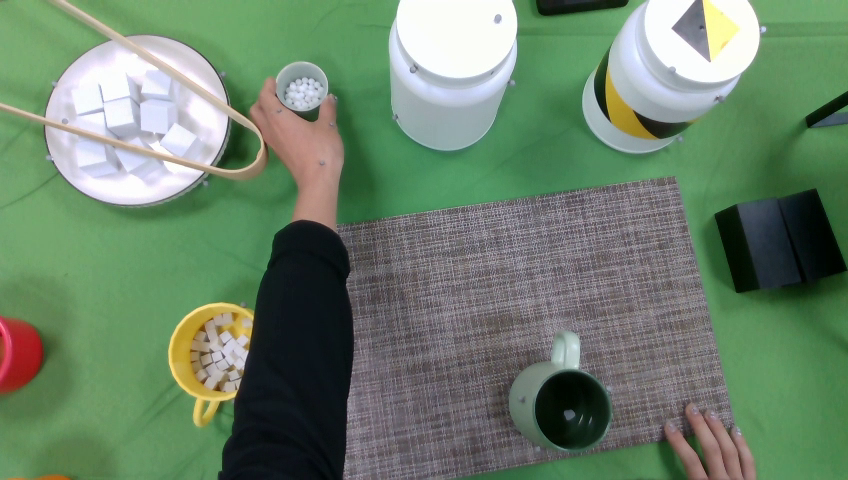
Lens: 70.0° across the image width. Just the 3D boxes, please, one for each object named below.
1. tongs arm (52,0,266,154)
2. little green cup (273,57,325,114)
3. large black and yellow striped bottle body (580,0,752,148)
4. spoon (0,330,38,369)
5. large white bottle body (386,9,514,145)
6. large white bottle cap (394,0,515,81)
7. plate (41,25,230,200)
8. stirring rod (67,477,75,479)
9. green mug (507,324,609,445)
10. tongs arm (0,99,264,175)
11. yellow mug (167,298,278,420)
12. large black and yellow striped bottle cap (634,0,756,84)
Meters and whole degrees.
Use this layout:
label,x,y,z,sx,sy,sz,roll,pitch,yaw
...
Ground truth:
label,x,y,z,sx,sy,sz,roll,pitch,yaw
tongs arm,-0.332,-0.212,0.683,0.387,0.028,0.028,33,74,5
little green cup,-0.146,-0.180,0.718,0.061,0.039,0.061,0,82,-3
large black and yellow striped bottle body,0.260,-0.190,0.668,0.131,0.184,0.130,0,80,-2
spoon,-0.495,0.109,0.597,0.195,0.021,0.041,9,74,-46
large white bottle body,0.025,-0.193,0.655,0.131,0.185,0.130,0,80,-2
large white bottle cap,0.029,-0.207,0.572,0.115,0.018,0.114,1,81,-3
plate,-0.328,-0.144,0.703,0.208,0.039,0.207,1,81,-3
stirring rod,-0.408,0.292,0.572,0.014,0.006,0.176,41,38,4
green mug,0.141,0.151,0.640,0.092,0.105,0.125,8,80,-1
tongs arm,-0.367,-0.138,0.667,0.384,0.026,0.050,19,76,3
yellow mug,-0.218,0.128,0.648,0.100,0.064,0.130,16,81,-1
large black and yellow striped bottle cap,0.263,-0.208,0.586,0.115,0.019,0.114,1,81,-4
